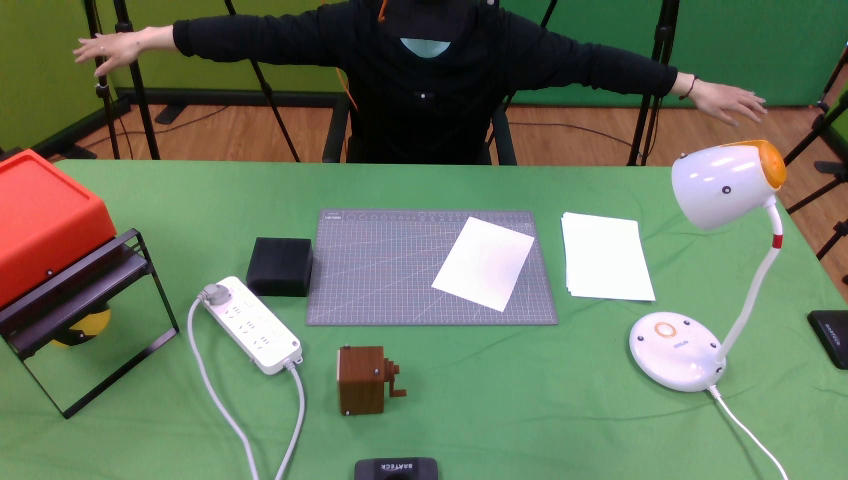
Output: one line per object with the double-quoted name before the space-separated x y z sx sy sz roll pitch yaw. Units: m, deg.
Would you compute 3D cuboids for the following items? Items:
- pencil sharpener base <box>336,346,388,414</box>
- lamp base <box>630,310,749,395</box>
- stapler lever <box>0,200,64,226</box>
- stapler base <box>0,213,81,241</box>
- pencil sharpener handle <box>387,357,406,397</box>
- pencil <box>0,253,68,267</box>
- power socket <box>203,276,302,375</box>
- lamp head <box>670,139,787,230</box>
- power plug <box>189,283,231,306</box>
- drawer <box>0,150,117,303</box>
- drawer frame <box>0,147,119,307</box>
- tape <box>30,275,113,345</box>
"pencil sharpener base" -0.094 0.215 0.927 0.077 0.107 0.061 -1 46 -6
"lamp base" 0.447 0.142 0.984 0.161 0.181 0.178 -24 55 -24
"stapler lever" -0.594 -0.042 0.904 0.118 0.040 0.026 5 41 11
"stapler base" -0.591 -0.024 0.921 0.130 0.024 0.041 5 41 11
"pencil sharpener handle" -0.041 0.209 0.919 0.031 0.068 0.036 -1 25 -6
"pencil" -0.608 0.023 0.875 0.194 0.012 0.012 9 46 2
"power socket" -0.297 0.141 1.034 0.072 0.033 0.225 -34 58 -30
"lamp head" 0.415 -0.079 0.812 0.113 0.123 0.112 12 70 -37
"power plug" -0.368 0.099 1.037 0.072 0.053 0.035 -24 52 -25
"drawer" -0.604 -0.021 0.885 0.194 0.073 0.211 30 52 22
"drawer frame" -0.603 -0.020 0.882 0.201 0.083 0.213 29 52 21
"tape" -0.594 0.117 1.021 0.117 0.053 0.116 2 45 -2
